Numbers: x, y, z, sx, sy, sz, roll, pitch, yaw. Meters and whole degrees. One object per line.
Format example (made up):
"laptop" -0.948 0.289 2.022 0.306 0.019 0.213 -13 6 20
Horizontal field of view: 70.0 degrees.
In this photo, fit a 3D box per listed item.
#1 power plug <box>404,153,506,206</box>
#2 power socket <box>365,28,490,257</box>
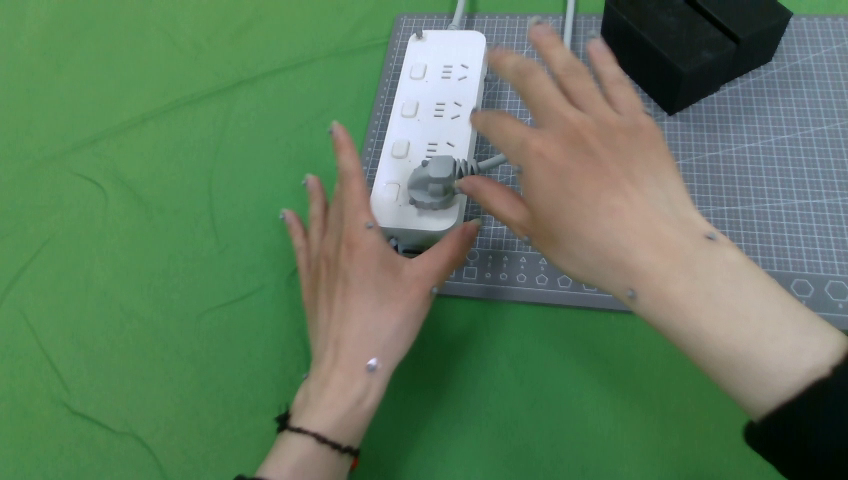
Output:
"power plug" 0.020 -0.037 0.442 0.072 0.053 0.035 16 64 15
"power socket" 0.007 -0.092 0.502 0.072 0.033 0.225 6 62 11
